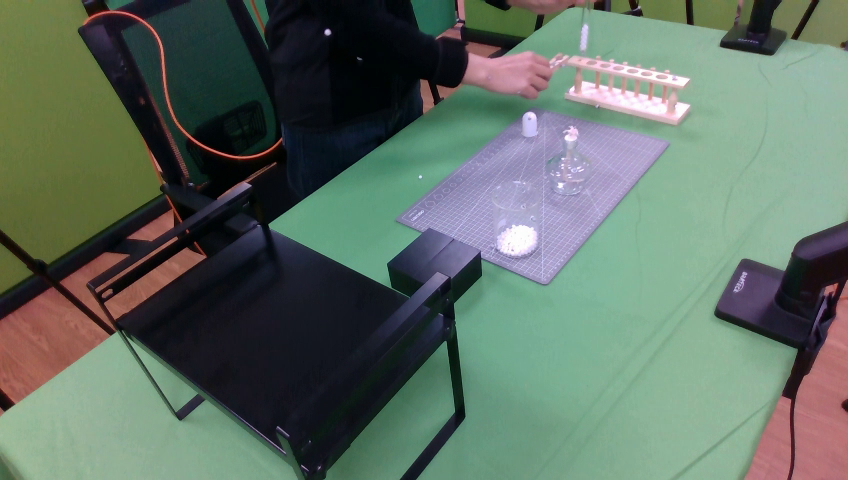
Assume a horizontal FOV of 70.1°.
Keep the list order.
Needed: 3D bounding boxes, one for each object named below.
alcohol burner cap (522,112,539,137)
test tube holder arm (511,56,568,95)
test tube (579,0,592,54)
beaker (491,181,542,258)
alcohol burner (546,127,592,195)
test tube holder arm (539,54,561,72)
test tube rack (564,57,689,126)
[{"bbox_3d":[0.210,-0.230,1.195,0.034,0.048,0.033,-5,43,5],"label":"alcohol burner cap"},{"bbox_3d":[0.222,-0.315,1.151,0.013,0.015,0.179,32,50,26],"label":"test tube holder arm"},{"bbox_3d":[0.313,-0.433,1.171,0.017,0.151,0.017,-3,41,3],"label":"test tube"},{"bbox_3d":[0.144,-0.030,0.925,0.073,0.101,0.084,22,48,31],"label":"beaker"},{"bbox_3d":[0.246,-0.137,1.023,0.078,0.119,0.077,-4,38,4],"label":"alcohol burner"},{"bbox_3d":[0.245,-0.341,1.180,0.010,0.015,0.088,26,48,21],"label":"test tube holder arm"},{"bbox_3d":[0.411,-0.311,1.231,0.240,0.085,0.067,23,49,32],"label":"test tube rack"}]
